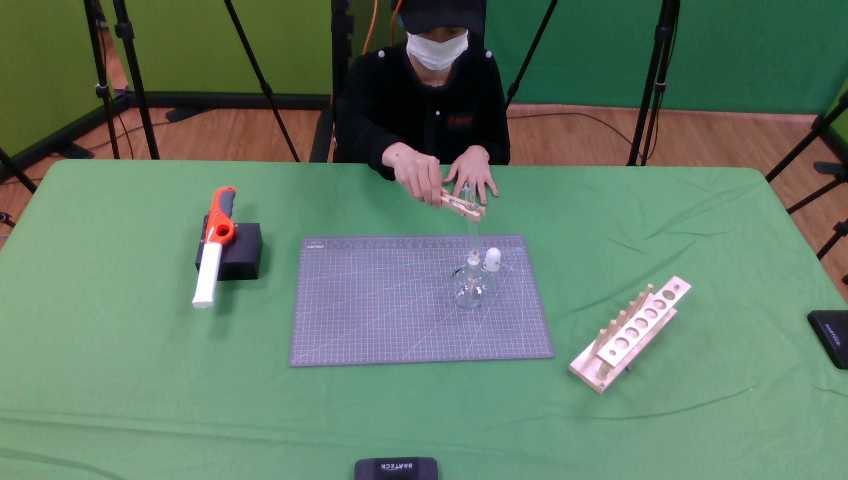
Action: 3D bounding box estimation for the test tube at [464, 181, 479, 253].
[{"bbox_3d":[0.077,-0.033,0.974,0.017,0.151,0.017,-5,45,5],"label":"test tube"}]

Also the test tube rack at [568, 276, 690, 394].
[{"bbox_3d":[0.354,0.149,1.039,0.242,0.085,0.066,-34,56,-31],"label":"test tube rack"}]

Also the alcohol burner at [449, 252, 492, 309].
[{"bbox_3d":[0.084,0.066,1.074,0.078,0.120,0.077,1,44,-1],"label":"alcohol burner"}]

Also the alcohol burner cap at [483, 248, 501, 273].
[{"bbox_3d":[0.130,0.037,1.156,0.034,0.048,0.033,1,46,-1],"label":"alcohol burner cap"}]

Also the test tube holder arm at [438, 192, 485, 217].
[{"bbox_3d":[0.059,-0.058,0.974,0.087,0.015,0.010,20,50,26],"label":"test tube holder arm"}]

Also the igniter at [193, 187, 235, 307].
[{"bbox_3d":[-0.379,0.003,1.096,0.057,0.025,0.274,-1,49,-6],"label":"igniter"}]

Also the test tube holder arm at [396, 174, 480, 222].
[{"bbox_3d":[0.020,-0.071,0.993,0.177,0.015,0.013,27,52,31],"label":"test tube holder arm"}]
